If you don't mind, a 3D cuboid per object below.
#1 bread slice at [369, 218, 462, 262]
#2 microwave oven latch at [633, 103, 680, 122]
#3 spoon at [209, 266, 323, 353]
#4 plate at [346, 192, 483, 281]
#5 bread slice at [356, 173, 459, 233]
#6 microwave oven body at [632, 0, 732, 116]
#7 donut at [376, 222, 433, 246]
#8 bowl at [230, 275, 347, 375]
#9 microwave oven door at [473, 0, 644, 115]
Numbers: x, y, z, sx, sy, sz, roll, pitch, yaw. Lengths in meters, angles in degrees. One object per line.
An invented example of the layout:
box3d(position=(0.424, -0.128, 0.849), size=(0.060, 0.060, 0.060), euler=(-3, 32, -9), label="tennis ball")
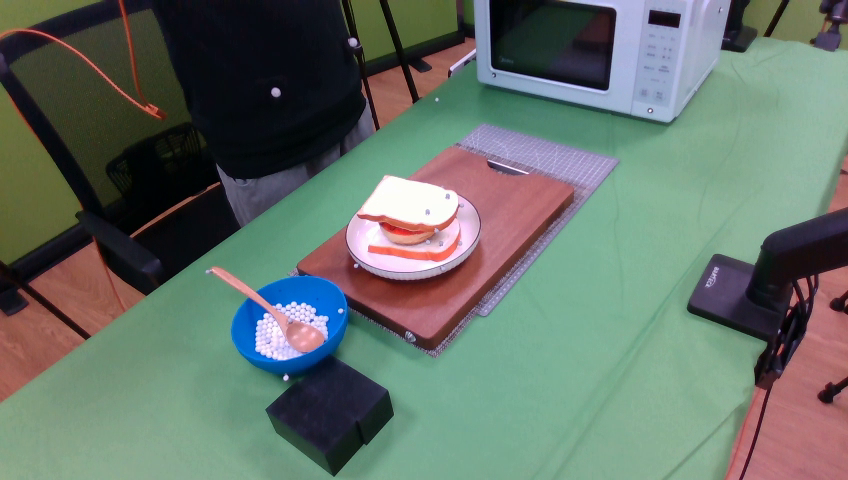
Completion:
box3d(position=(-0.008, -0.009, 0.929), size=(0.131, 0.019, 0.105), euler=(7, 44, 20), label="bread slice")
box3d(position=(0.444, -0.249, 1.157), size=(0.078, 0.029, 0.030), euler=(21, 48, 30), label="microwave oven latch")
box3d(position=(-0.213, 0.088, 0.806), size=(0.193, 0.021, 0.042), euler=(36, 56, 11), label="spoon")
box3d(position=(-0.013, -0.008, 0.922), size=(0.207, 0.039, 0.206), euler=(-4, 40, 4), label="plate")
box3d(position=(-0.018, -0.053, 0.886), size=(0.134, 0.018, 0.107), euler=(12, 43, 12), label="bread slice")
box3d(position=(0.377, -0.462, 1.267), size=(0.438, 0.261, 0.327), euler=(21, 48, 30), label="microwave oven body")
box3d(position=(-0.023, -0.031, 0.906), size=(0.099, 0.048, 0.098), euler=(-9, 42, 9), label="donut")
box3d(position=(-0.171, 0.125, 0.802), size=(0.151, 0.077, 0.150), euler=(-4, 40, 4), label="bowl")
box3d(position=(0.257, -0.396, 1.199), size=(0.353, 0.245, 0.039), euler=(21, 48, 29), label="microwave oven door")
